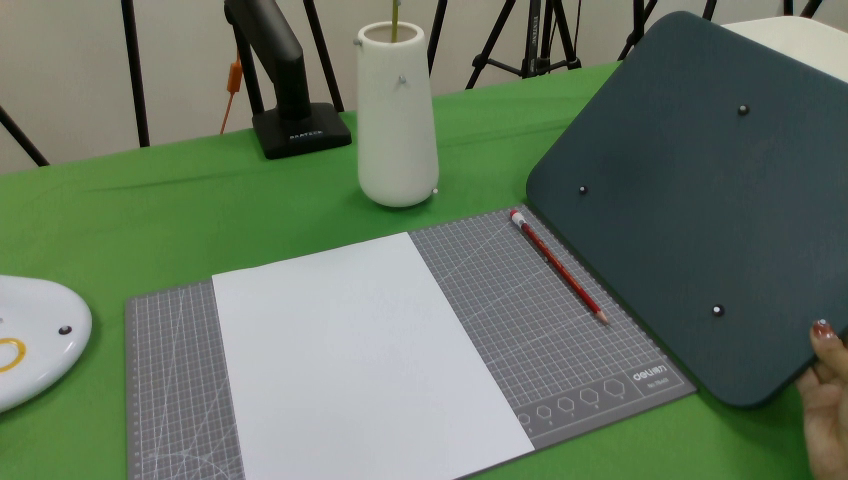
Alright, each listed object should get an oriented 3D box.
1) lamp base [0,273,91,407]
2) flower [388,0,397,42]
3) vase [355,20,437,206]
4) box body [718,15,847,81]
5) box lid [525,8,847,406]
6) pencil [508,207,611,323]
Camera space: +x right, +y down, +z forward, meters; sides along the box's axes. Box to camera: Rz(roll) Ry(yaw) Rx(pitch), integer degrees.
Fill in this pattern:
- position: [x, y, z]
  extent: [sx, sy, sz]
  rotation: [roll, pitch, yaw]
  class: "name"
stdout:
- position: [-0.395, 0.027, 0.497]
  extent: [0.178, 0.182, 0.160]
  rotation: [23, 44, 30]
  class: "lamp base"
- position: [-0.034, -0.189, 0.619]
  extent: [0.044, 0.364, 0.038]
  rotation: [23, 56, 7]
  class: "flower"
- position: [-0.035, -0.139, 0.687]
  extent: [0.098, 0.202, 0.097]
  rotation: [-1, 38, 1]
  class: "vase"
- position: [0.427, -0.103, 0.669]
  extent: [0.255, 0.162, 0.359]
  rotation: [-14, 41, -16]
  class: "box body"
- position: [0.261, -0.056, 0.573]
  extent: [0.015, 0.264, 0.367]
  rotation: [24, 22, -38]
  class: "box lid"
- position: [0.137, 0.021, 0.634]
  extent: [0.012, 0.012, 0.191]
  rotation: [-15, 42, -17]
  class: "pencil"
